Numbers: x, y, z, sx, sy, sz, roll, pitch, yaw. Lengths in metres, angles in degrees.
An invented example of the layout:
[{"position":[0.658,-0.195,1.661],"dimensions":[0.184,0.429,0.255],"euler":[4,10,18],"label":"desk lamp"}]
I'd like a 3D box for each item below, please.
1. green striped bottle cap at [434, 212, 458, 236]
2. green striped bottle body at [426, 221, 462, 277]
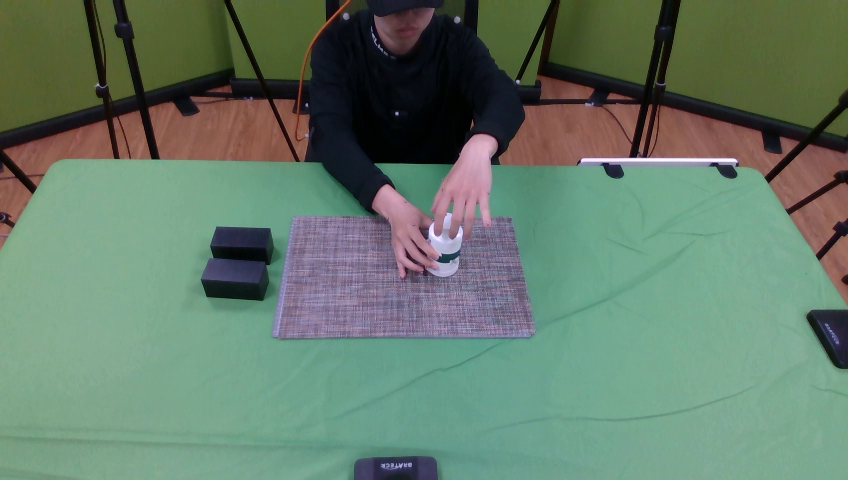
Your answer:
[{"position":[0.040,-0.029,1.083],"dimensions":[0.044,0.020,0.044],"euler":[2,47,-2],"label":"green striped bottle cap"},{"position":[0.037,0.007,1.121],"dimensions":[0.063,0.120,0.063],"euler":[2,46,-2],"label":"green striped bottle body"}]
